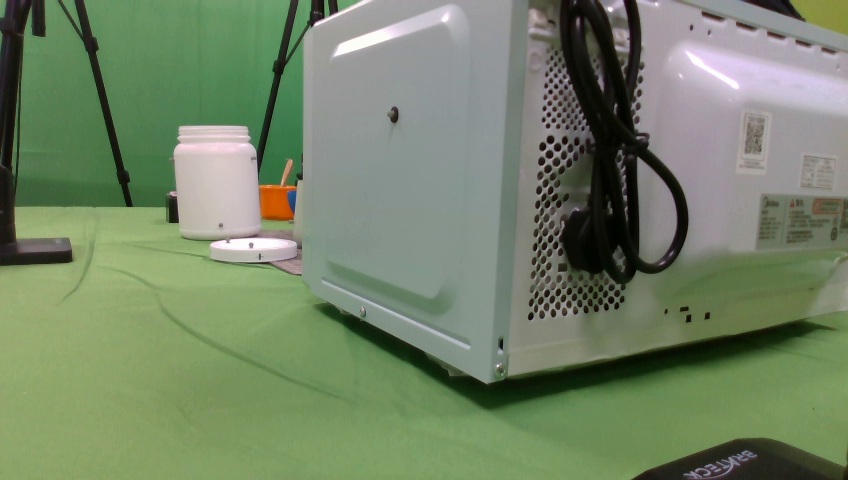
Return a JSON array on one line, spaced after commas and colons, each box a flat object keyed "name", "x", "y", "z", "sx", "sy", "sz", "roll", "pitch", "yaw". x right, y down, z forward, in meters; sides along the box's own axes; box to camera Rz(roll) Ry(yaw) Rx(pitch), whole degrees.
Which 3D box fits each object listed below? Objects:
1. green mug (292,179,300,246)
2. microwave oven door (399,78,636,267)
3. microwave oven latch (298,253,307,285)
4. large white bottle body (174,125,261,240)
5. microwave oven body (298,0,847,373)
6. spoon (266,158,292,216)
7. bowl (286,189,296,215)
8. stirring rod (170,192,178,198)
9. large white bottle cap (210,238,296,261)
[{"name": "green mug", "x": -0.142, "y": -0.041, "z": 0.942, "sx": 0.126, "sy": 0.105, "sz": 0.092, "roll": -2, "pitch": 8, "yaw": -32}, {"name": "microwave oven door", "x": 0.117, "y": -0.103, "z": 0.875, "sx": 0.354, "sy": 0.243, "sz": 0.039, "roll": 7, "pitch": 9, "yaw": 35}, {"name": "microwave oven latch", "x": -0.082, "y": 0.027, "z": 0.583, "sx": 0.079, "sy": 0.029, "sz": 0.030, "roll": -2, "pitch": 7, "yaw": -33}, {"name": "large white bottle body", "x": -0.349, "y": -0.100, "z": 1.025, "sx": 0.131, "sy": 0.184, "sz": 0.130, "roll": -1, "pitch": 9, "yaw": 0}, {"name": "microwave oven body", "x": 0.151, "y": -0.055, "z": 0.543, "sx": 0.444, "sy": 0.260, "sz": 0.324, "roll": -1, "pitch": 7, "yaw": -33}, {"name": "spoon", "x": -0.334, "y": -0.127, "z": 1.423, "sx": 0.041, "sy": 0.193, "sz": 0.022, "roll": -1, "pitch": -37, "yaw": 8}, {"name": "bowl", "x": -0.179, "y": -0.051, "z": 1.115, "sx": 0.151, "sy": 0.077, "sz": 0.151, "roll": 3, "pitch": 8, "yaw": 0}, {"name": "stirring rod", "x": -0.465, "y": -0.098, "z": 1.283, "sx": 0.014, "sy": 0.006, "sz": 0.177, "roll": 42, "pitch": 21, "yaw": 17}, {"name": "large white bottle cap", "x": -0.236, "y": 0.012, "z": 0.839, "sx": 0.115, "sy": 0.018, "sz": 0.115, "roll": 1, "pitch": 8, "yaw": 0}]
